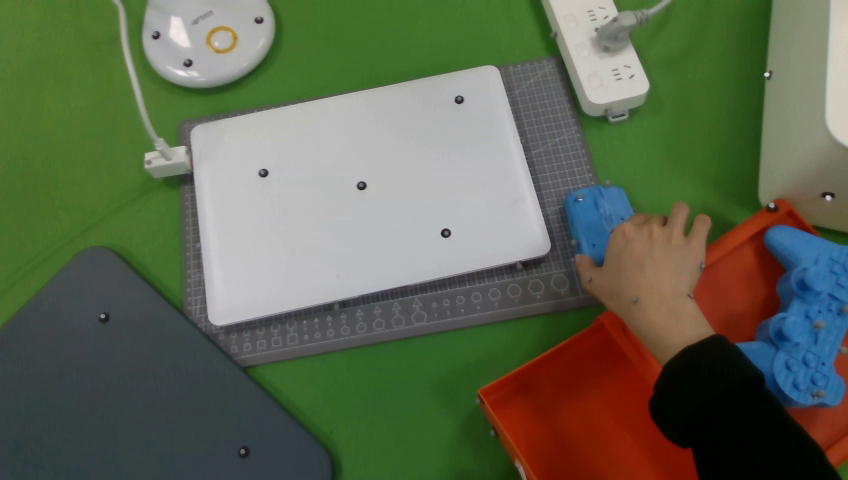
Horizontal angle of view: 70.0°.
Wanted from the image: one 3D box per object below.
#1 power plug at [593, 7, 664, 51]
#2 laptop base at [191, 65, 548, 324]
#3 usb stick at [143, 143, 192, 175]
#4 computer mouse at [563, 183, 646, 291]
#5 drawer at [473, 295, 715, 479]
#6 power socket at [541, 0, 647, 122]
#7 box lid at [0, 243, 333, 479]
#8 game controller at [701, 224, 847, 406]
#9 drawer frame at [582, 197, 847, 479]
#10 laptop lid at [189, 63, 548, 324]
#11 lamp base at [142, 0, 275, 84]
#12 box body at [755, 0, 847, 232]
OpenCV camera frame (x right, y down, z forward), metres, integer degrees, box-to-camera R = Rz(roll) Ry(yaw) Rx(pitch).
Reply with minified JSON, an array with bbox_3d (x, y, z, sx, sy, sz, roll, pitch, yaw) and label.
[{"bbox_3d":[0.225,-0.226,0.670,0.072,0.053,0.035,-2,68,1],"label":"power plug"},{"bbox_3d":[-0.066,-0.056,0.653,0.354,0.023,0.234,-12,73,-2],"label":"laptop base"},{"bbox_3d":[-0.272,-0.089,0.662,0.059,0.027,0.021,-7,63,-3],"label":"usb stick"},{"bbox_3d":[0.180,-0.006,0.608,0.063,0.041,0.116,-8,65,2],"label":"computer mouse"},{"bbox_3d":[0.178,0.165,0.525,0.212,0.074,0.193,-29,70,-8],"label":"drawer"},{"bbox_3d":[0.190,-0.241,0.702,0.072,0.033,0.225,-12,69,-3],"label":"power socket"},{"bbox_3d":[-0.297,0.192,0.576,0.369,0.015,0.263,38,76,15],"label":"box lid"},{"bbox_3d":[0.307,0.062,0.500,0.097,0.052,0.155,31,75,11],"label":"game controller"},{"bbox_3d":[0.287,0.100,0.542,0.213,0.083,0.200,-31,70,-9],"label":"drawer frame"},{"bbox_3d":[-0.067,-0.058,0.641,0.357,0.013,0.240,-11,72,-1],"label":"laptop lid"},{"bbox_3d":[-0.275,-0.292,0.667,0.178,0.181,0.160,37,75,18],"label":"lamp base"},{"bbox_3d":[0.490,-0.183,0.594,0.254,0.161,0.362,13,71,8],"label":"box body"}]
